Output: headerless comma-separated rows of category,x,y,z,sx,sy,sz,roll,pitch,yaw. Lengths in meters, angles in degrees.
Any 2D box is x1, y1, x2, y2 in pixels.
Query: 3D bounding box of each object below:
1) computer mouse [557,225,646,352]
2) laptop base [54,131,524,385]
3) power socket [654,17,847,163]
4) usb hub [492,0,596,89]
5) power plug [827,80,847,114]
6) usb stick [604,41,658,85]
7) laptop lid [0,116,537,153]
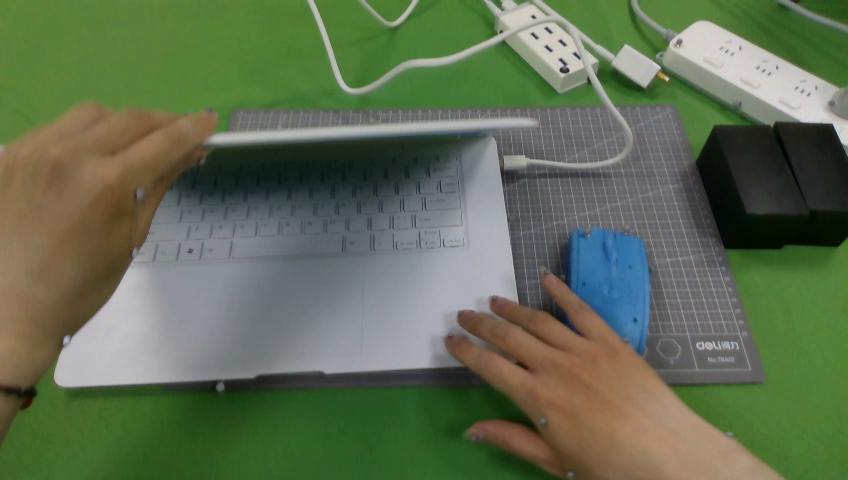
computer mouse,0.141,0.032,0.476,0.062,0.041,0.116,9,52,10
laptop base,-0.105,0.004,0.515,0.354,0.023,0.233,-3,59,-1
power socket,0.342,-0.156,0.608,0.072,0.033,0.225,-37,62,-23
usb hub,0.127,-0.215,0.656,0.049,0.025,0.124,-26,59,-16
power plug,0.413,-0.141,0.569,0.072,0.053,0.035,-29,59,-15
usb stick,0.219,-0.181,0.627,0.059,0.027,0.021,30,16,2
laptop lid,-0.109,-0.081,0.458,0.357,0.241,0.013,-2,101,1
